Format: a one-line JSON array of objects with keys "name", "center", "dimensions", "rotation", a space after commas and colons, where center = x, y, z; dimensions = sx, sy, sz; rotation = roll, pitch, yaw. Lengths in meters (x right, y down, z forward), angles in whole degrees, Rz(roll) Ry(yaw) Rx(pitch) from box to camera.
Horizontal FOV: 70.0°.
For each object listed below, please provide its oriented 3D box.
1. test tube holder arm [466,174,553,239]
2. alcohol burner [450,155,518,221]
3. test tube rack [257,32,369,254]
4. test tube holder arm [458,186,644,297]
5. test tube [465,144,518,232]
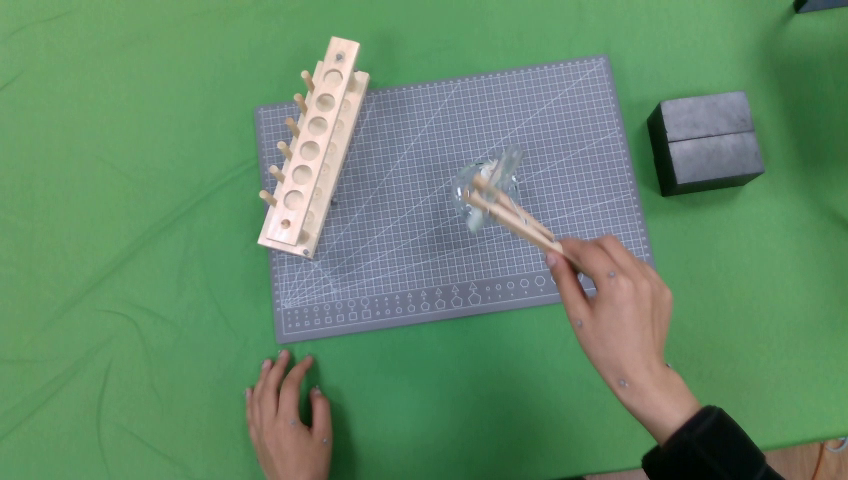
[{"name": "test tube holder arm", "center": [0.075, -0.027, 0.531], "dimensions": [0.087, 0.015, 0.010], "rotation": [38, 67, 6]}, {"name": "alcohol burner", "center": [0.068, -0.063, 0.675], "dimensions": [0.078, 0.119, 0.077], "rotation": [0, 78, 1]}, {"name": "test tube rack", "center": [-0.135, -0.113, 0.705], "dimensions": [0.066, 0.085, 0.241], "rotation": [15, 80, 5]}, {"name": "test tube holder arm", "center": [0.109, 0.002, 0.526], "dimensions": [0.178, 0.015, 0.013], "rotation": [31, 67, 3]}, {"name": "test tube", "center": [0.055, -0.039, 0.523], "dimensions": [0.017, 0.151, 0.017], "rotation": [2, 69, -6]}]
